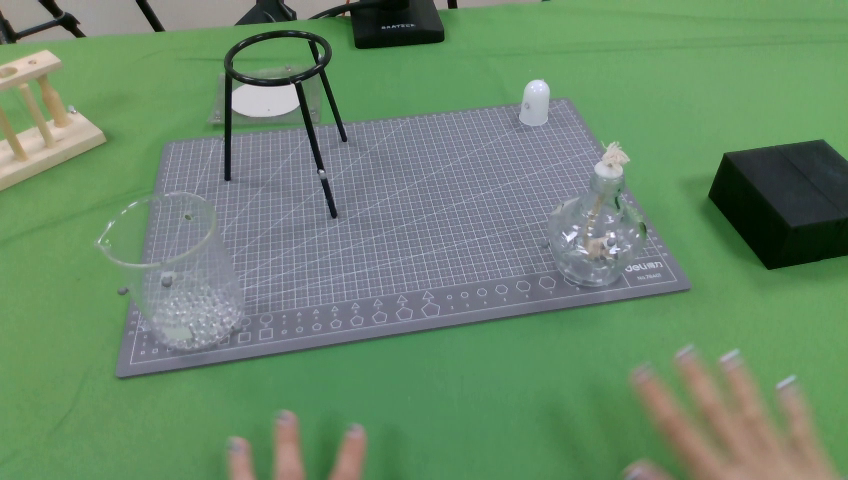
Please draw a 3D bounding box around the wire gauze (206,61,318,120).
[{"bbox_3d":[-0.187,-0.174,0.709,0.125,0.011,0.120,-6,44,-3],"label":"wire gauze"}]

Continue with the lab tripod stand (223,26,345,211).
[{"bbox_3d":[-0.126,-0.113,0.552,0.148,0.133,0.147,-1,47,2],"label":"lab tripod stand"}]

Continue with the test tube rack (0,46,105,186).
[{"bbox_3d":[-0.448,-0.092,0.574,0.066,0.086,0.242,33,54,29],"label":"test tube rack"}]

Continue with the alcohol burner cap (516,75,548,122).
[{"bbox_3d":[0.118,-0.156,0.656,0.034,0.048,0.033,0,45,1],"label":"alcohol burner cap"}]

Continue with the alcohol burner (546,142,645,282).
[{"bbox_3d":[0.136,-0.025,0.474,0.078,0.120,0.077,-1,43,1],"label":"alcohol burner"}]

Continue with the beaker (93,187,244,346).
[{"bbox_3d":[-0.179,0.024,0.441,0.084,0.101,0.073,-10,45,-7],"label":"beaker"}]

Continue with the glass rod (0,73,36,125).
[{"bbox_3d":[-0.422,-0.186,0.574,0.008,0.202,0.008,-6,46,7],"label":"glass rod"}]
